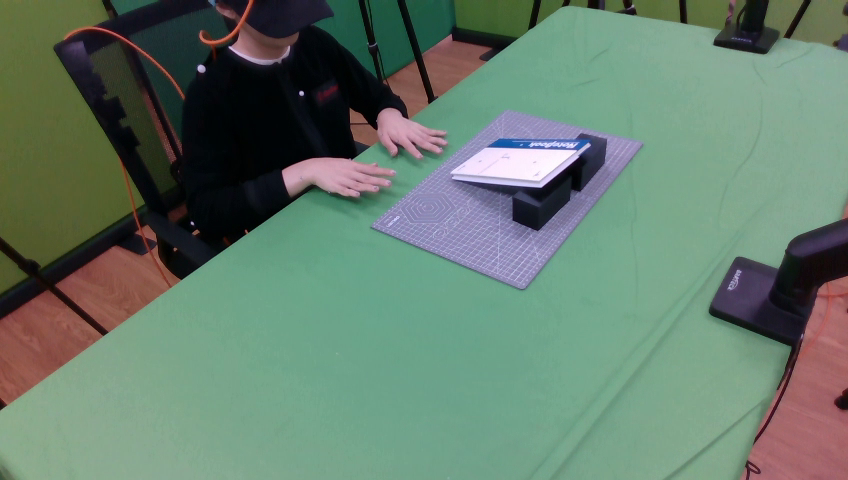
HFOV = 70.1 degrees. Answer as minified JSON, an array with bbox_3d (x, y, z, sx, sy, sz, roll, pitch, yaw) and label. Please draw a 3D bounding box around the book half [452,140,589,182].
[{"bbox_3d":[0.166,-0.143,1.065,0.144,0.007,0.208,-37,30,-30],"label":"book half"}]
